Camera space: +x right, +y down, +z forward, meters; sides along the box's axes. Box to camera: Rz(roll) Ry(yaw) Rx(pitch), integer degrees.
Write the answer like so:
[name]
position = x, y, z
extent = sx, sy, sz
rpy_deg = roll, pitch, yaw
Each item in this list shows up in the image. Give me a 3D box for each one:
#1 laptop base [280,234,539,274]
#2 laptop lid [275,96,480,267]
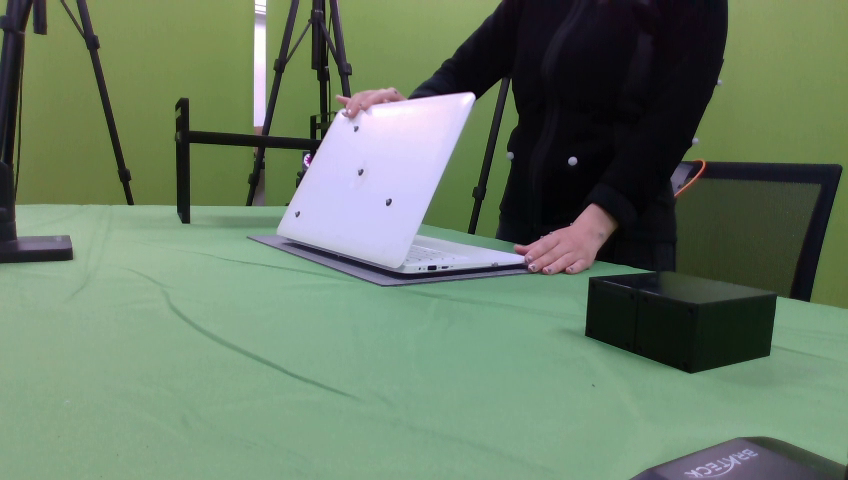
[laptop base]
position = -0.037, 0.014, 0.895
extent = 0.237, 0.023, 0.352
rpy_deg = 1, 7, -38
[laptop lid]
position = -0.084, -0.093, 0.841
extent = 0.013, 0.241, 0.355
rpy_deg = 34, -11, -35
